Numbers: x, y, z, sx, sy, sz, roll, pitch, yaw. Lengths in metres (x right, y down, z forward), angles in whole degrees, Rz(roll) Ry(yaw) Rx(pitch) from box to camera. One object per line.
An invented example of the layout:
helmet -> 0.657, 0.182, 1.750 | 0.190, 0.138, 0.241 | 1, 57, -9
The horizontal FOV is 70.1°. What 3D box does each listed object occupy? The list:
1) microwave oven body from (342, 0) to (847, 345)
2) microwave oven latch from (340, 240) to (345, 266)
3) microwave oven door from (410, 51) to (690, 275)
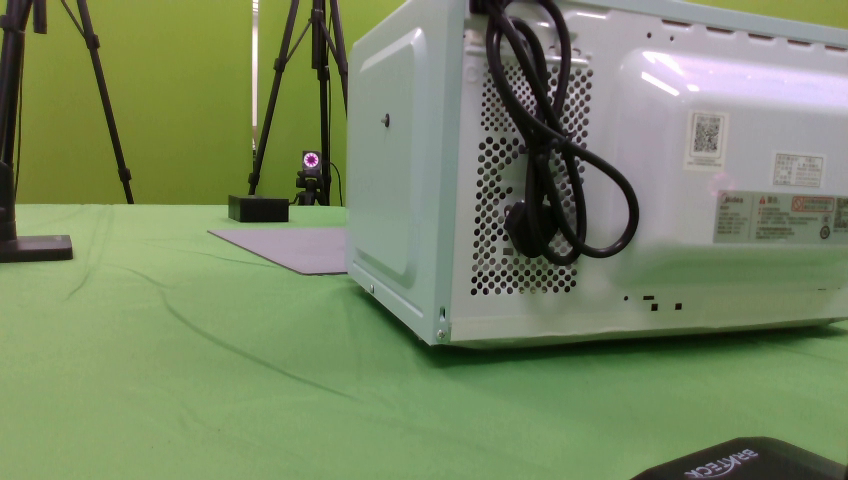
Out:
microwave oven body -> 0.169, -0.060, 0.573 | 0.444, 0.260, 0.324 | 1, 7, -20
microwave oven latch -> -0.052, 0.016, 0.662 | 0.079, 0.029, 0.030 | 1, 7, -18
microwave oven door -> 0.162, -0.084, 0.723 | 0.357, 0.243, 0.039 | 0, 8, -20
